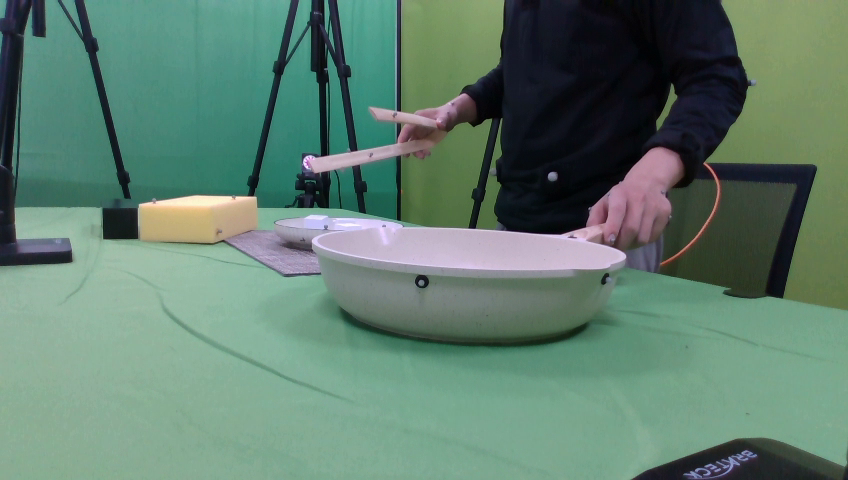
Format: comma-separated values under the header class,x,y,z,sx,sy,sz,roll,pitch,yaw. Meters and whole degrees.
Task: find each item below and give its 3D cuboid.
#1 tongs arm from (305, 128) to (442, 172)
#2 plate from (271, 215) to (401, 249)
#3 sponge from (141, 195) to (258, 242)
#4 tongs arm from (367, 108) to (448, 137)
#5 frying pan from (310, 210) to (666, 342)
class,x,y,z,sx,sy,sz,roll,pitch,yaw
tongs arm,-0.074,-0.168,1.092,0.050,0.026,0.386,-35,-5,30
plate,-0.141,-0.012,0.978,0.208,0.039,0.207,3,7,0
sponge,-0.380,-0.040,1.047,0.118,0.061,0.207,1,8,3
tongs arm,-0.017,-0.204,1.058,0.028,0.028,0.388,-37,-5,19
frying pan,0.120,0.011,0.643,0.490,0.102,0.305,-13,16,-36
